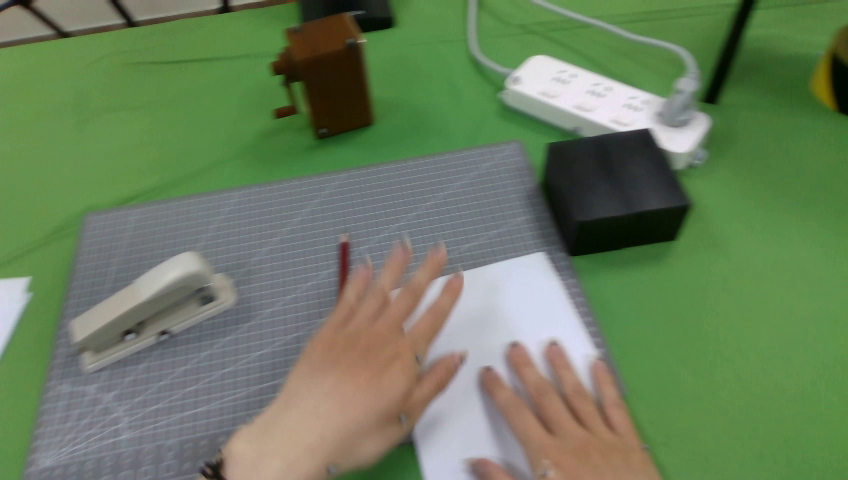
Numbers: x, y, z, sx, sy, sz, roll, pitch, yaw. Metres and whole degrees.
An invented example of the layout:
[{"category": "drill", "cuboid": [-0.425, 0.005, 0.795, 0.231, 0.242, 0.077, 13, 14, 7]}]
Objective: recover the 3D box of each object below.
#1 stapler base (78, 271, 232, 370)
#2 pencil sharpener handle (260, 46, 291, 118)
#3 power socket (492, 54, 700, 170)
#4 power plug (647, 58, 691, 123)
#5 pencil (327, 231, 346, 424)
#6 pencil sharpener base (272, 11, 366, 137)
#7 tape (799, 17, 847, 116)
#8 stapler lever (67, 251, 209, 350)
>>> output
[{"category": "stapler base", "cuboid": [-0.231, 0.061, 0.513, 0.130, 0.025, 0.041, -27, 53, -15]}, {"category": "pencil sharpener handle", "cuboid": [-0.157, -0.160, 0.616, 0.031, 0.068, 0.035, -20, 32, -11]}, {"category": "power socket", "cuboid": [0.180, -0.141, 0.645, 0.225, 0.033, 0.072, 29, 58, 24]}, {"category": "power plug", "cuboid": [0.256, -0.142, 0.611, 0.072, 0.053, 0.035, -38, 59, -23]}, {"category": "pencil", "cuboid": [-0.072, 0.063, 0.512, 0.012, 0.012, 0.192, -5, 48, 0]}, {"category": "pencil sharpener base", "cuboid": [-0.111, -0.172, 0.640, 0.077, 0.108, 0.060, -20, 53, -11]}, {"category": "tape", "cuboid": [0.475, -0.187, 0.650, 0.117, 0.053, 0.115, -2, 52, 3]}, {"category": "stapler lever", "cuboid": [-0.233, 0.047, 0.493, 0.118, 0.040, 0.026, -26, 53, -16]}]
